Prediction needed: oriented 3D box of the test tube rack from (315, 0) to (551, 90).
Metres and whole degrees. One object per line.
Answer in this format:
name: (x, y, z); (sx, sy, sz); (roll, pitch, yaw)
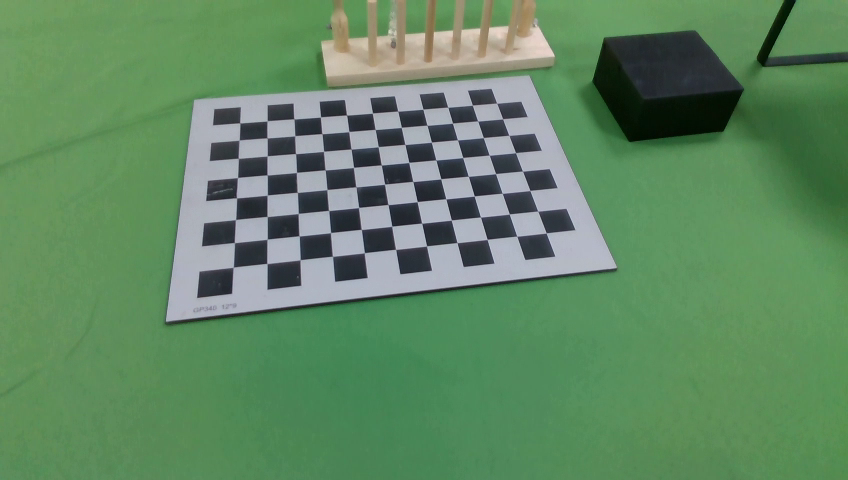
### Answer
test tube rack: (0.013, -0.221, 0.628); (0.243, 0.086, 0.066); (-7, 50, -8)

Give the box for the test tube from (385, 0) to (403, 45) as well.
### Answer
test tube: (-0.026, -0.260, 0.594); (0.017, 0.151, 0.017); (4, 50, -5)
